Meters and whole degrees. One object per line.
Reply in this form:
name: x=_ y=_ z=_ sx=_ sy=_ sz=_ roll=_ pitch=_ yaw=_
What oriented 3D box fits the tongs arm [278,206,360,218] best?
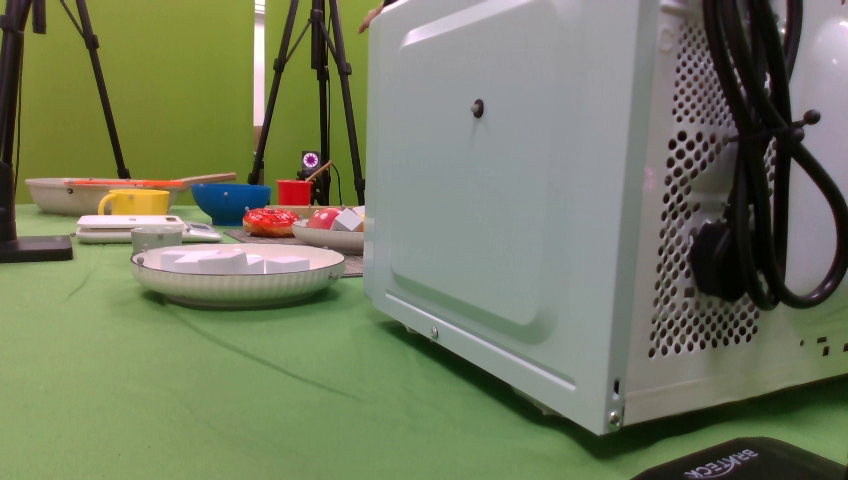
tongs arm: x=-0.170 y=-0.067 z=1.401 sx=0.387 sy=0.026 sz=0.050 roll=-3 pitch=5 yaw=-39

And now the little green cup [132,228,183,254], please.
little green cup: x=-0.342 y=0.006 z=0.779 sx=0.061 sy=0.038 sz=0.061 roll=2 pitch=8 yaw=0

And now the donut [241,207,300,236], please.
donut: x=-0.263 y=-0.031 z=1.039 sx=0.099 sy=0.048 sz=0.099 roll=5 pitch=9 yaw=0

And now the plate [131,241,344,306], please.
plate: x=-0.187 y=0.033 z=0.625 sx=0.208 sy=0.039 sz=0.207 roll=2 pitch=7 yaw=0

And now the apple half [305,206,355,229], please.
apple half: x=-0.138 y=-0.025 z=0.917 sx=0.081 sy=0.053 sz=0.074 roll=0 pitch=10 yaw=-43

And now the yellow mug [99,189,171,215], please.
yellow mug: x=-0.519 y=-0.055 z=1.080 sx=0.099 sy=0.064 sz=0.131 roll=7 pitch=10 yaw=26

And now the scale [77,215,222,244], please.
scale: x=-0.434 y=-0.019 z=0.963 sx=0.202 sy=0.031 sz=0.148 roll=-1 pitch=9 yaw=-27

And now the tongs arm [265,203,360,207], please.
tongs arm: x=-0.217 y=-0.075 z=1.470 sx=0.389 sy=0.027 sz=0.028 roll=-1 pitch=1 yaw=-26

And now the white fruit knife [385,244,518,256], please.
white fruit knife: x=0.041 y=0.016 z=0.878 sx=0.208 sy=0.016 sz=0.027 roll=-2 pitch=-3 yaw=-24

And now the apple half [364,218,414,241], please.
apple half: x=-0.054 y=-0.019 z=0.968 sx=0.081 sy=0.033 sz=0.081 roll=-2 pitch=9 yaw=1

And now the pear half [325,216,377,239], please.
pear half: x=-0.118 y=-0.023 z=0.996 sx=0.088 sy=0.031 sz=0.070 roll=-4 pitch=23 yaw=-27

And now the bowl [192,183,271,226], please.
bowl: x=-0.382 y=-0.070 z=1.202 sx=0.151 sy=0.077 sz=0.151 roll=3 pitch=7 yaw=0

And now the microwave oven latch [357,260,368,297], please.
microwave oven latch: x=-0.019 y=0.033 z=0.530 sx=0.079 sy=0.029 sz=0.030 roll=0 pitch=7 yaw=-26

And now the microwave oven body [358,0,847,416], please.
microwave oven body: x=0.211 y=-0.047 z=0.475 sx=0.444 sy=0.260 sz=0.324 roll=-1 pitch=7 yaw=-28

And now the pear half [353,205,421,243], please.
pear half: x=-0.051 y=-0.023 z=0.905 sx=0.110 sy=0.056 sz=0.076 roll=2 pitch=-2 yaw=-38

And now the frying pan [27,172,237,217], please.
frying pan: x=-0.624 y=-0.118 z=1.387 sx=0.305 sy=0.102 sz=0.490 roll=8 pitch=17 yaw=32

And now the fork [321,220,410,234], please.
fork: x=-0.105 y=-0.025 z=1.131 sx=0.208 sy=0.028 sz=0.018 roll=-1 pitch=35 yaw=-40

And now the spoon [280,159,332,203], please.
spoon: x=-0.316 y=-0.159 z=1.640 sx=0.194 sy=0.022 sz=0.041 roll=-50 pitch=32 yaw=-20

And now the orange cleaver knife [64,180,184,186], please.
orange cleaver knife: x=-0.595 y=-0.114 z=1.212 sx=0.212 sy=0.012 sz=0.077 roll=-4 pitch=6 yaw=-41

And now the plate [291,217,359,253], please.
plate: x=-0.103 y=-0.009 z=0.945 sx=0.209 sy=0.038 sz=0.209 roll=2 pitch=7 yaw=0

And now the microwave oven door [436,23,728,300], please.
microwave oven door: x=0.180 y=-0.072 z=0.621 sx=0.358 sy=0.243 sz=0.039 roll=-2 pitch=9 yaw=-29
